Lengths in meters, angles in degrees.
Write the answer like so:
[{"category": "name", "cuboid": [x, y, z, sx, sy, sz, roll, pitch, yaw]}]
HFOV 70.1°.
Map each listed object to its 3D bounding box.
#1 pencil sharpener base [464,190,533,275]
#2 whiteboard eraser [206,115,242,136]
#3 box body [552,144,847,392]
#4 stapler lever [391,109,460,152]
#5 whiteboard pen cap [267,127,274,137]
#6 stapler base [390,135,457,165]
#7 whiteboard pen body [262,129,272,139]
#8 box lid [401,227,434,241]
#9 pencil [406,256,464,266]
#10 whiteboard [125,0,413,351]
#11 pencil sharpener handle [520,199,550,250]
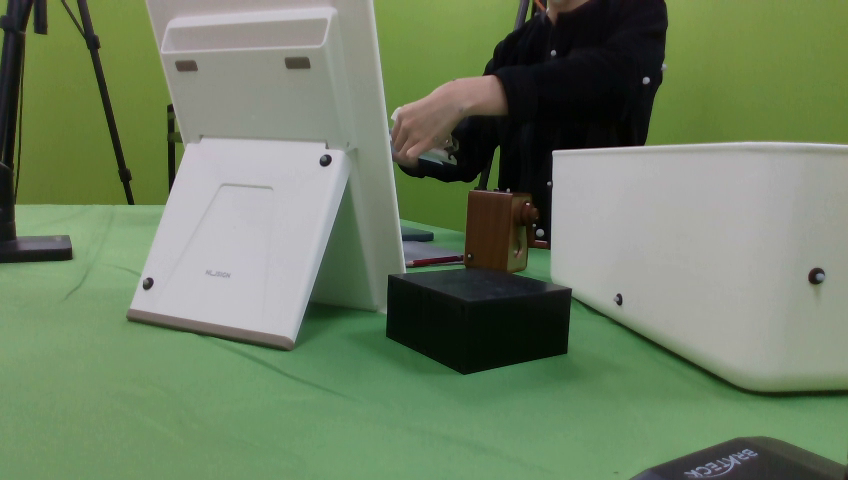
[{"category": "pencil sharpener base", "cuboid": [0.103, -0.012, 0.813, 0.076, 0.107, 0.061, 8, 9, 36]}, {"category": "whiteboard eraser", "cuboid": [-0.438, -0.249, 1.320, 0.056, 0.042, 0.112, -3, 9, -30]}, {"category": "box body", "cuboid": [0.290, 0.002, 0.549, 0.255, 0.160, 0.363, 2, 7, -10]}, {"category": "stapler lever", "cuboid": [0.002, -0.163, 0.887, 0.117, 0.040, 0.027, 21, 0, 30]}, {"category": "whiteboard pen cap", "cuboid": [-0.340, -0.239, 1.337, 0.018, 0.018, 0.033, 1, -1, -14]}, {"category": "stapler base", "cuboid": [-0.009, -0.140, 0.886, 0.130, 0.024, 0.041, 22, 0, 30]}, {"category": "whiteboard pen body", "cuboid": [-0.361, -0.245, 1.393, 0.017, 0.017, 0.140, 0, 5, -20]}, {"category": "box lid", "cuboid": [-0.196, -0.015, 1.105, 0.373, 0.015, 0.262, -1, 7, -32]}, {"category": "pencil", "cuboid": [0.041, 0.027, 0.850, 0.195, 0.012, 0.012, -4, 10, -45]}, {"category": "whiteboard", "cuboid": [-0.151, -0.050, 0.471, 0.216, 0.305, 0.144, 6, 27, 24]}, {"category": "pencil sharpener handle", "cuboid": [0.147, -0.019, 0.785, 0.030, 0.068, 0.036, 8, 25, 36]}]
